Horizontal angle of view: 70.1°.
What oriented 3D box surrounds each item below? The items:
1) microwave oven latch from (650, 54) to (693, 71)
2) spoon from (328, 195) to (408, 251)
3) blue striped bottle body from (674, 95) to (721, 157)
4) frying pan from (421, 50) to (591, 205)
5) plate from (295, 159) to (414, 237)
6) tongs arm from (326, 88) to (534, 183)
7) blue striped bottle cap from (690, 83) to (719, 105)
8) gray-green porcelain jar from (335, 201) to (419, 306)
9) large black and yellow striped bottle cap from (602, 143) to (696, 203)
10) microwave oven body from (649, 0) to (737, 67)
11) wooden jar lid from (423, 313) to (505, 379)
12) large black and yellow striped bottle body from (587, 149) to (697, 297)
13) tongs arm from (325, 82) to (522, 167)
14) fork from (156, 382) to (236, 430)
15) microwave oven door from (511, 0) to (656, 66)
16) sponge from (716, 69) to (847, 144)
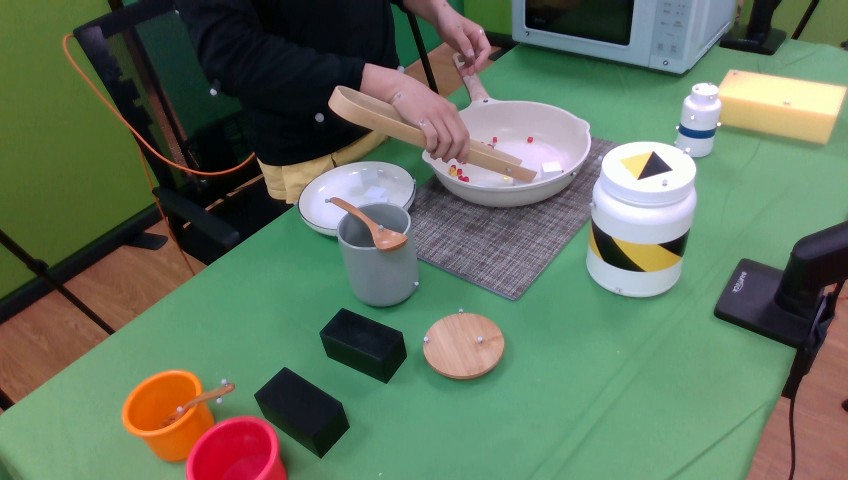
[{"bbox_3d":[0.531,-0.386,1.301,0.078,0.029,0.030,26,51,33],"label":"microwave oven latch"},{"bbox_3d":[-0.083,-0.029,0.829,0.042,0.022,0.192,-31,42,-22],"label":"spoon"},{"bbox_3d":[0.486,-0.213,1.072,0.063,0.121,0.063,-4,41,4],"label":"blue striped bottle body"},{"bbox_3d":[0.127,-0.233,1.155,0.307,0.103,0.484,-10,49,-5],"label":"frying pan"},{"bbox_3d":[-0.118,-0.070,1.055,0.207,0.039,0.206,-5,40,5],"label":"plate"},{"bbox_3d":[0.030,-0.146,0.919,0.391,0.027,0.028,15,37,-36],"label":"tongs arm"},{"bbox_3d":[0.481,-0.251,1.038,0.044,0.021,0.044,-5,40,5],"label":"blue striped bottle cap"},{"bbox_3d":[-0.064,0.024,0.872,0.106,0.127,0.105,-4,41,4],"label":"gray-green porcelain jar"},{"bbox_3d":[0.289,-0.088,0.779,0.115,0.019,0.114,-5,39,4],"label":"large black and yellow striped bottle cap"},{"bbox_3d":[0.475,-0.602,1.411,0.438,0.261,0.327,23,50,32],"label":"microwave oven body"},{"bbox_3d":[0.053,0.142,0.800,0.108,0.021,0.108,-5,39,4],"label":"wooden jar lid"},{"bbox_3d":[0.298,-0.026,0.835,0.131,0.185,0.130,-4,41,4],"label":"large black and yellow striped bottle body"},{"bbox_3d":[0.020,-0.164,0.938,0.388,0.026,0.050,17,33,-34],"label":"tongs arm"},{"bbox_3d":[-0.262,0.189,0.690,0.018,0.206,0.028,49,43,-7],"label":"fork"},{"bbox_3d":[0.350,-0.539,1.349,0.353,0.245,0.039,24,50,31],"label":"microwave oven door"},{"bbox_3d":[0.663,-0.256,1.142,0.205,0.061,0.118,19,47,28],"label":"sponge"}]
